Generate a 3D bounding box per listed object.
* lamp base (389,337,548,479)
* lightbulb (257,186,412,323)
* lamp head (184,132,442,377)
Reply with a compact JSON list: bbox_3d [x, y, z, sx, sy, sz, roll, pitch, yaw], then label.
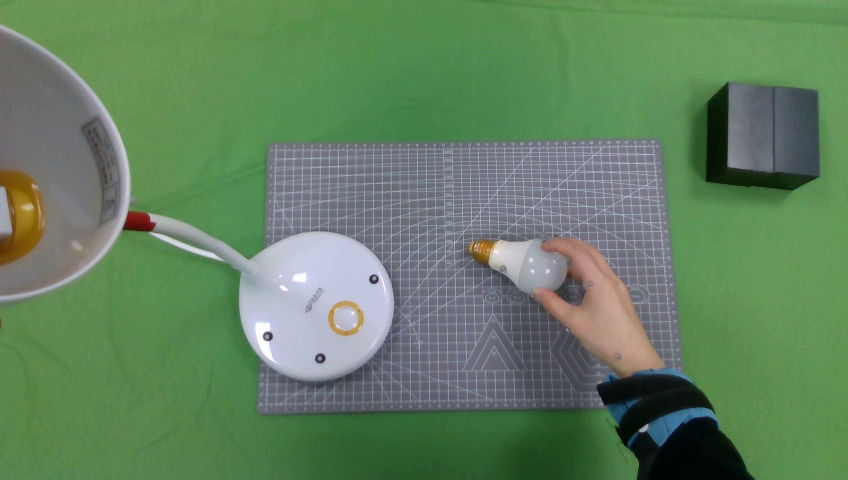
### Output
[{"bbox_3d":[0.037,0.155,0.602,0.179,0.181,0.159,8,68,11],"label":"lamp base"},{"bbox_3d":[-0.050,0.014,0.283,0.060,0.107,0.059,18,60,-35],"label":"lightbulb"},{"bbox_3d":[-0.065,0.022,0.311,0.113,0.123,0.111,19,57,-32],"label":"lamp head"}]
